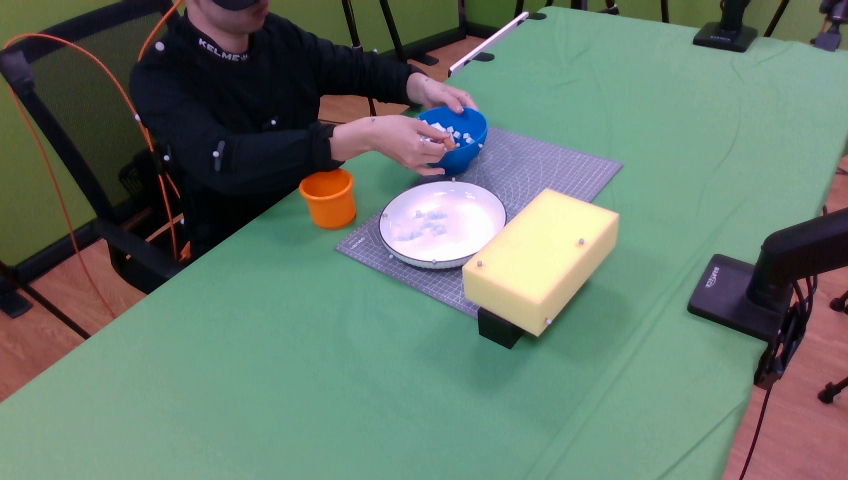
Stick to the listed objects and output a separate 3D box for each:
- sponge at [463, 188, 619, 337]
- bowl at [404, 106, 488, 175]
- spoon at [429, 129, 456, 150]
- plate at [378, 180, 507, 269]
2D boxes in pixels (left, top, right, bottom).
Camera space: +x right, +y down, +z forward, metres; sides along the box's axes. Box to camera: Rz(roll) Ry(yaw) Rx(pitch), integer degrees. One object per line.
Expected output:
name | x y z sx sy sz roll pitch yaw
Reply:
sponge | 0.160 0.022 0.814 0.117 0.061 0.207 24 50 32
bowl | 0.045 -0.173 1.108 0.151 0.077 0.150 -6 43 6
spoon | 0.034 -0.174 1.037 0.041 0.022 0.193 -12 15 -1
plate | 0.031 -0.022 0.974 0.209 0.038 0.208 -4 40 4
